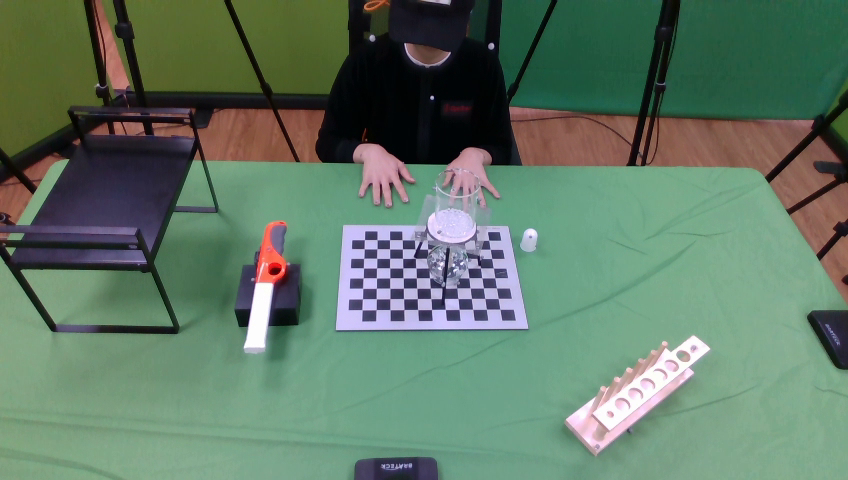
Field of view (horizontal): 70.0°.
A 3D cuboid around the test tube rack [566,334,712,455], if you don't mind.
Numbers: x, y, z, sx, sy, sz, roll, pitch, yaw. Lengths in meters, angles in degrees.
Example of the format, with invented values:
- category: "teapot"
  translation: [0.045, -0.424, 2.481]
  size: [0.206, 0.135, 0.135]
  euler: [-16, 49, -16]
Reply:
- category: "test tube rack"
  translation: [0.338, 0.228, 0.951]
  size: [0.242, 0.085, 0.066]
  euler: [-26, 52, -26]

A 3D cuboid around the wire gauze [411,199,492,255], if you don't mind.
- category: "wire gauze"
  translation: [0.049, -0.028, 1.052]
  size: [0.125, 0.011, 0.121]
  euler: [10, 44, 12]

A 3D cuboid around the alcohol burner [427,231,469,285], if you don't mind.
- category: "alcohol burner"
  translation: [0.046, 0.027, 1.103]
  size: [0.078, 0.119, 0.077]
  euler: [3, 45, -3]

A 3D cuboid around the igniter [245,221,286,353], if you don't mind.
- category: "igniter"
  translation: [-0.270, 0.070, 1.040]
  size: [0.057, 0.025, 0.274]
  euler: [2, 48, -6]

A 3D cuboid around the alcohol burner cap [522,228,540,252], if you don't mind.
- category: "alcohol burner cap"
  translation: [0.214, -0.003, 1.198]
  size: [0.034, 0.048, 0.033]
  euler: [1, 46, -1]

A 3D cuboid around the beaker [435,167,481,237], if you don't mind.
- category: "beaker"
  translation: [0.054, -0.063, 1.017]
  size: [0.074, 0.101, 0.083]
  euler: [5, 45, 3]

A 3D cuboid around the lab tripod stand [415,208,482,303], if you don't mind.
- category: "lab tripod stand"
  translation: [0.043, 0.019, 1.097]
  size: [0.148, 0.132, 0.147]
  euler: [1, 46, 0]
